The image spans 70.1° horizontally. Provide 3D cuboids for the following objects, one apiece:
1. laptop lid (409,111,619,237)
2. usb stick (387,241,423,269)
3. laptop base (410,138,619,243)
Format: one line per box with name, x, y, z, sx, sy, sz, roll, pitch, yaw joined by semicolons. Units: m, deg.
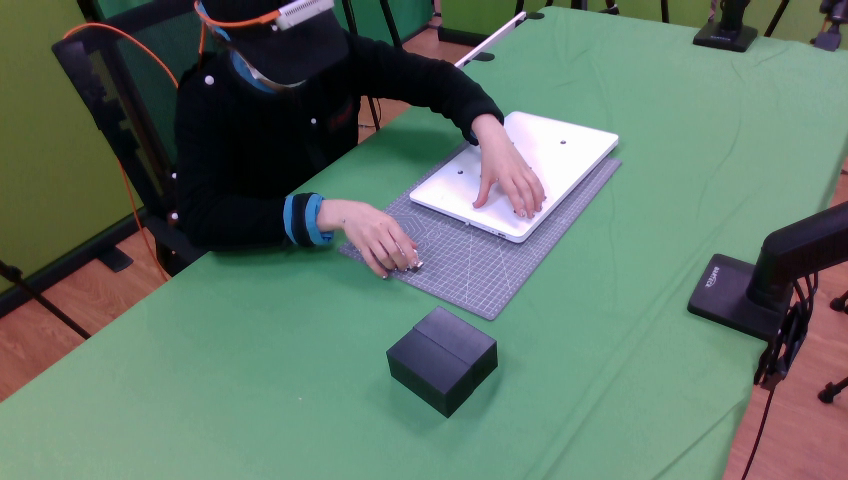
laptop lid;0.167;-0.136;1.089;0.239;0.013;0.358;24;49;34
usb stick;-0.028;0.026;0.934;0.059;0.027;0.021;26;51;28
laptop base;0.170;-0.126;1.096;0.233;0.023;0.355;22;48;33
